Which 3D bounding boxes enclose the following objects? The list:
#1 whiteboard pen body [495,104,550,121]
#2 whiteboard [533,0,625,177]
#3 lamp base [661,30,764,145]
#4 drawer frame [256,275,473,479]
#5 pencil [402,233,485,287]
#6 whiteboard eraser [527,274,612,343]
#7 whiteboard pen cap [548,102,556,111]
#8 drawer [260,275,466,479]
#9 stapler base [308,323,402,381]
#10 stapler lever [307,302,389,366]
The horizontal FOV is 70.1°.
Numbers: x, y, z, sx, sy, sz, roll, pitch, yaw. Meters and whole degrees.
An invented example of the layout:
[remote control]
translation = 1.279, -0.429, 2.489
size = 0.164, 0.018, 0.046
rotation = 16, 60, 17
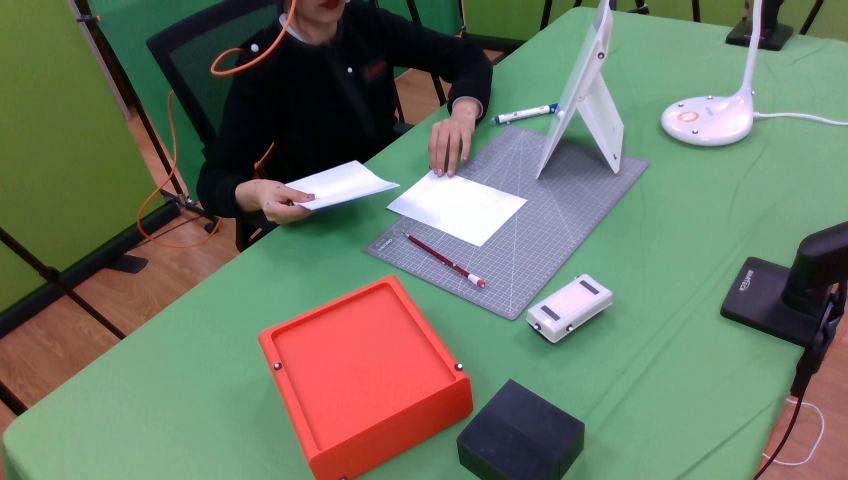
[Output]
[whiteboard pen body]
translation = 0.216, -0.267, 1.255
size = 0.141, 0.017, 0.017
rotation = -12, 40, -5
[whiteboard]
translation = 0.321, -0.258, 1.049
size = 0.144, 0.306, 0.217
rotation = 20, 45, 4
[lamp base]
translation = 0.535, -0.287, 1.096
size = 0.179, 0.181, 0.159
rotation = -10, 40, -4
[drawer frame]
translation = -0.078, 0.164, 0.756
size = 0.202, 0.083, 0.211
rotation = -23, 43, -17
[pencil]
translation = 0.026, 0.027, 0.949
size = 0.012, 0.012, 0.192
rotation = -34, 45, -26
[whiteboard eraser]
translation = 0.198, 0.094, 0.820
size = 0.113, 0.042, 0.055
rotation = -29, 43, -22
[whiteboard pen cap]
translation = 0.273, -0.279, 1.259
size = 0.033, 0.018, 0.018
rotation = -11, 40, -5
[drawer]
translation = -0.080, 0.163, 0.760
size = 0.195, 0.073, 0.210
rotation = -22, 42, -16
[stapler base]
translation = -0.094, 0.142, 0.812
size = 0.131, 0.024, 0.041
rotation = -25, 29, -18
[stapler lever]
translation = -0.101, 0.121, 0.799
size = 0.118, 0.040, 0.026
rotation = -26, 29, -17
